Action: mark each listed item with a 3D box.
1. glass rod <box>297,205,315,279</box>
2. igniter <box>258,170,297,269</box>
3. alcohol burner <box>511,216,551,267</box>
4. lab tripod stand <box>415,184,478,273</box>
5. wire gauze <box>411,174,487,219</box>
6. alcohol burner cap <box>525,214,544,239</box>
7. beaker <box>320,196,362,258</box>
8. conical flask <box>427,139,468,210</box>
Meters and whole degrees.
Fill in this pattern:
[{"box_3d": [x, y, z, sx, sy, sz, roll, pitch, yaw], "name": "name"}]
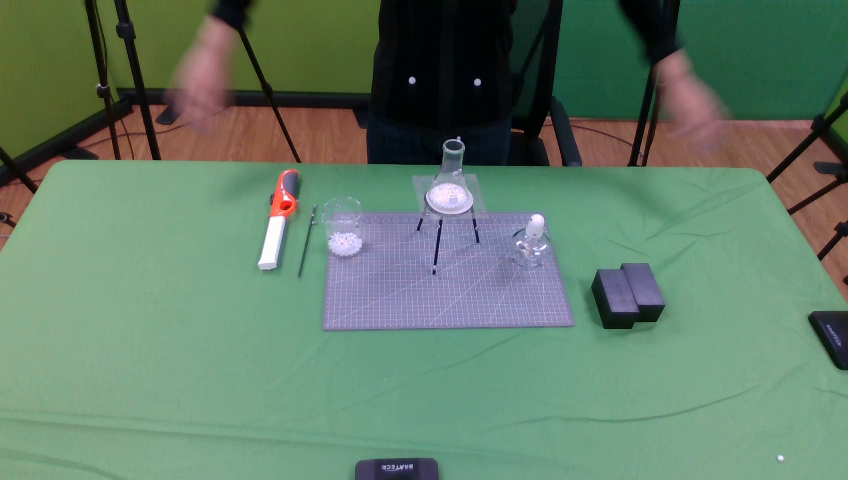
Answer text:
[{"box_3d": [-0.232, 0.000, 1.191, 0.008, 0.008, 0.198, 3, 46, -1], "name": "glass rod"}, {"box_3d": [-0.294, -0.050, 1.221, 0.057, 0.025, 0.274, -5, 45, 4], "name": "igniter"}, {"box_3d": [0.206, -0.004, 1.153, 0.078, 0.120, 0.077, 2, 48, -2], "name": "alcohol burner"}, {"box_3d": [0.042, -0.031, 1.152, 0.148, 0.132, 0.147, 3, 44, -3], "name": "lab tripod stand"}, {"box_3d": [0.044, -0.079, 1.107, 0.125, 0.011, 0.120, -4, 44, -6], "name": "wire gauze"}, {"box_3d": [0.208, -0.027, 1.125, 0.034, 0.048, 0.033, 1, 54, -1], "name": "alcohol burner cap"}, {"box_3d": [-0.156, -0.021, 1.150, 0.084, 0.101, 0.073, -30, 55, -28], "name": "beaker"}, {"box_3d": [0.046, -0.117, 1.061, 0.075, 0.122, 0.075, 3, 46, -2], "name": "conical flask"}]
